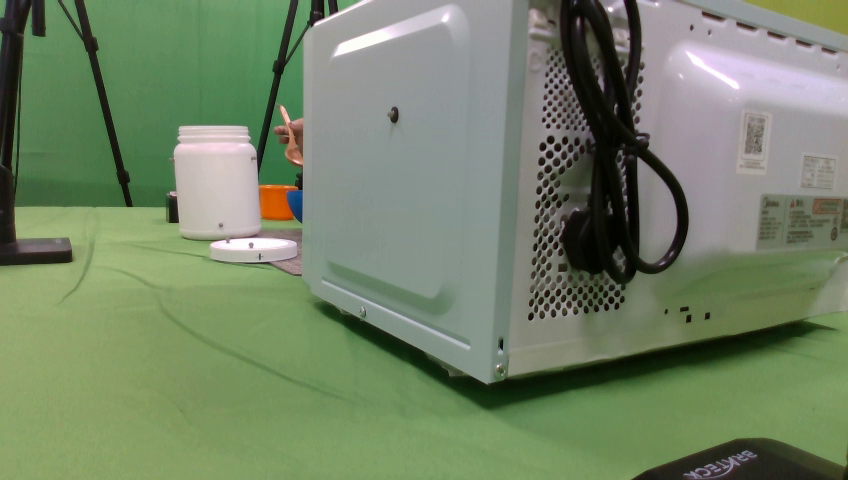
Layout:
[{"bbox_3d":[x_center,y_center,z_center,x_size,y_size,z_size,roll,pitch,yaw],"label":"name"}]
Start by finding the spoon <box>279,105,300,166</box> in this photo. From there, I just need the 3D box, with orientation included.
[{"bbox_3d":[-0.266,-0.209,1.202,0.042,0.021,0.193,13,43,-37],"label":"spoon"}]

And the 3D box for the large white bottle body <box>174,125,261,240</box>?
[{"bbox_3d":[-0.349,-0.099,1.025,0.131,0.184,0.130,-1,9,0],"label":"large white bottle body"}]

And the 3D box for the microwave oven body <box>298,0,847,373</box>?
[{"bbox_3d":[0.151,-0.055,0.542,0.444,0.260,0.324,-2,7,-33],"label":"microwave oven body"}]

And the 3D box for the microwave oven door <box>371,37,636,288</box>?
[{"bbox_3d":[0.109,-0.080,0.686,0.358,0.243,0.039,-2,9,-33],"label":"microwave oven door"}]

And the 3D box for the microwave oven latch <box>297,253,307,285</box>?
[{"bbox_3d":[-0.081,0.027,0.582,0.079,0.029,0.030,-1,7,-32],"label":"microwave oven latch"}]

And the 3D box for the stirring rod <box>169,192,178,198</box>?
[{"bbox_3d":[-0.465,-0.098,1.283,0.014,0.006,0.177,42,21,17],"label":"stirring rod"}]

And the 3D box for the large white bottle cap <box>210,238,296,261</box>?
[{"bbox_3d":[-0.236,0.012,0.839,0.115,0.018,0.115,1,7,0],"label":"large white bottle cap"}]

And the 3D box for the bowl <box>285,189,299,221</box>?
[{"bbox_3d":[-0.180,-0.051,1.113,0.151,0.077,0.151,2,8,0],"label":"bowl"}]

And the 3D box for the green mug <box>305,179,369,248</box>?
[{"bbox_3d":[-0.133,-0.044,0.977,0.092,0.105,0.126,6,8,32],"label":"green mug"}]
